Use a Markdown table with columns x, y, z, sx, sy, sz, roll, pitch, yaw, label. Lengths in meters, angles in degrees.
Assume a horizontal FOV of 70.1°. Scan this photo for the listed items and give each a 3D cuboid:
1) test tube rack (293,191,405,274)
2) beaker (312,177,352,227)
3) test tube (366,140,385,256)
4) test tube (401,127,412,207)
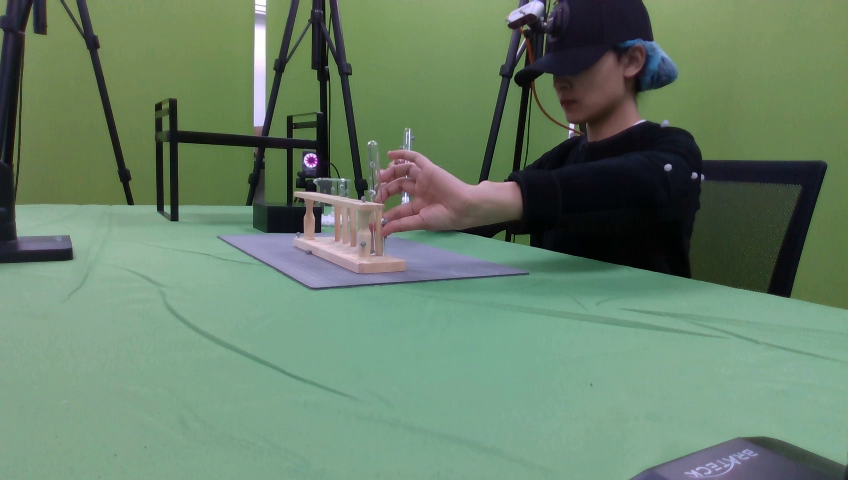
| x | y | z | sx | sy | sz | roll | pitch | yaw | label |
| --- | --- | --- | --- | --- | --- | --- | --- | --- | --- |
| -0.111 | -0.017 | 0.836 | 0.067 | 0.085 | 0.241 | -2 | 9 | -30 | test tube rack |
| -0.194 | -0.081 | 1.266 | 0.084 | 0.100 | 0.073 | -3 | 9 | -29 | beaker |
| -0.062 | -0.053 | 0.778 | 0.017 | 0.150 | 0.017 | -3 | 8 | 1 | test tube |
| -0.031 | -0.127 | 1.044 | 0.017 | 0.150 | 0.017 | 1 | -20 | 1 | test tube |
